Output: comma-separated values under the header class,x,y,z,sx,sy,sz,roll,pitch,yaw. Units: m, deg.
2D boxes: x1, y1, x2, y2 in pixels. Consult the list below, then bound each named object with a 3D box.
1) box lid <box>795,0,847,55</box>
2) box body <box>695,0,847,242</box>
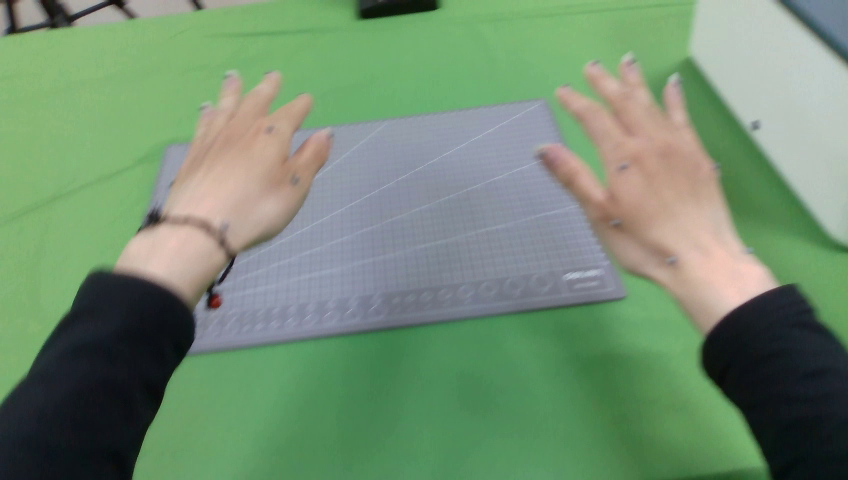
class,x,y,z,sx,sy,sz,roll,pitch,yaw
box lid,0.444,-0.227,0.520,0.263,0.015,0.367,-8,48,0
box body,0.451,-0.179,0.577,0.254,0.162,0.360,-8,48,0
